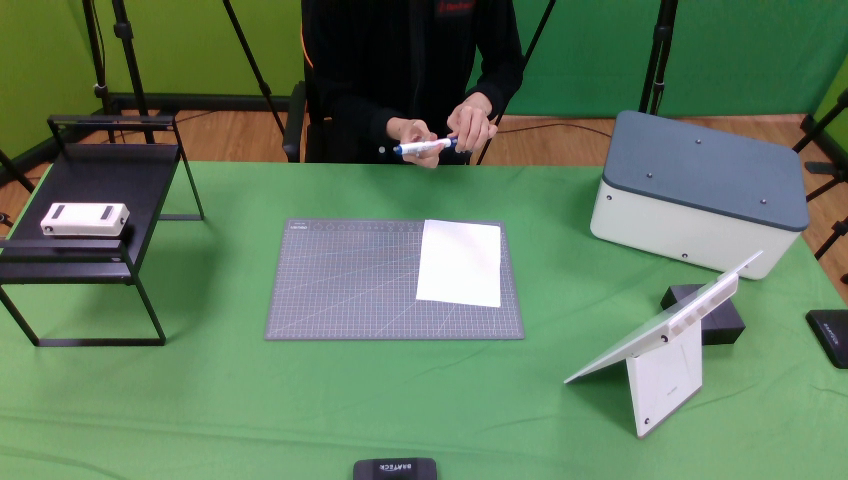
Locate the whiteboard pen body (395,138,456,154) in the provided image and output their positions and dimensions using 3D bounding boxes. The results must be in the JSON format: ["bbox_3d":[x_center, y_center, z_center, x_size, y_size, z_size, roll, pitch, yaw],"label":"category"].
[{"bbox_3d":[0.008,-0.163,1.039,0.141,0.017,0.017,-16,48,-37],"label":"whiteboard pen body"}]

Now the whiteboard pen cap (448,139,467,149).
[{"bbox_3d":[0.058,-0.171,1.074,0.033,0.018,0.018,-9,47,-29],"label":"whiteboard pen cap"}]

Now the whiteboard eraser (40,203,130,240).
[{"bbox_3d":[-0.513,-0.028,0.922,0.113,0.042,0.055,1,48,-3],"label":"whiteboard eraser"}]

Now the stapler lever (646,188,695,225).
[{"bbox_3d":[0.516,-0.078,1.265,0.027,0.040,0.117,0,41,-31],"label":"stapler lever"}]

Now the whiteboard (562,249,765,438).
[{"bbox_3d":[0.386,0.175,0.905,0.217,0.306,0.143,-26,72,-26],"label":"whiteboard"}]

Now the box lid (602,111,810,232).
[{"bbox_3d":[0.545,-0.143,1.176,0.371,0.015,0.262,15,47,11],"label":"box lid"}]

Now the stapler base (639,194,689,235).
[{"bbox_3d":[0.510,-0.059,1.278,0.041,0.024,0.129,1,39,-31],"label":"stapler base"}]

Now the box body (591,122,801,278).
[{"bbox_3d":[0.540,-0.092,1.229,0.363,0.161,0.253,16,47,11],"label":"box body"}]

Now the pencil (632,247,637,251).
[{"bbox_3d":[0.431,-0.060,1.284,0.012,0.012,0.193,2,56,-2],"label":"pencil"}]
